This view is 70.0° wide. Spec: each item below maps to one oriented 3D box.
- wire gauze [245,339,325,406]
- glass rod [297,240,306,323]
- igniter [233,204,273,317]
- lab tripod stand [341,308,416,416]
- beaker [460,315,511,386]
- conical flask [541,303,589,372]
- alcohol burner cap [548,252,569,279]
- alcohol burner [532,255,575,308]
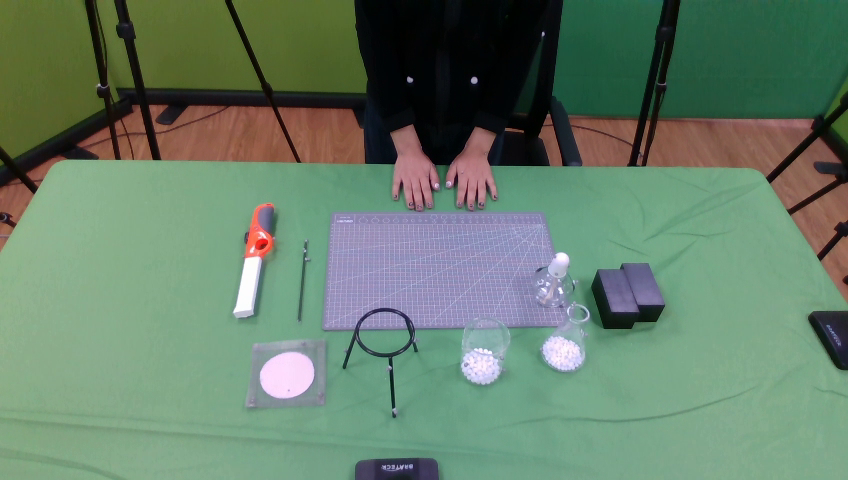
[{"bbox_3d":[-0.224,0.215,0.984,0.125,0.011,0.120,-2,46,-5],"label":"wire gauze"},{"bbox_3d":[-0.226,0.072,1.122,0.008,0.008,0.198,-2,46,-5],"label":"glass rod"},{"bbox_3d":[-0.321,0.029,1.142,0.057,0.025,0.274,-7,46,3],"label":"igniter"},{"bbox_3d":[-0.061,0.177,0.946,0.148,0.132,0.147,2,44,-2],"label":"lab tripod stand"},{"bbox_3d":[0.094,0.183,0.977,0.084,0.101,0.073,-20,51,-21],"label":"beaker"},{"bbox_3d":[0.240,0.156,0.998,0.075,0.122,0.075,2,46,-2],"label":"conical flask"},{"bbox_3d":[0.238,0.042,1.060,0.034,0.048,0.033,1,52,-2],"label":"alcohol burner cap"},{"bbox_3d":[0.235,0.066,1.087,0.078,0.119,0.077,4,45,-3],"label":"alcohol burner"}]
